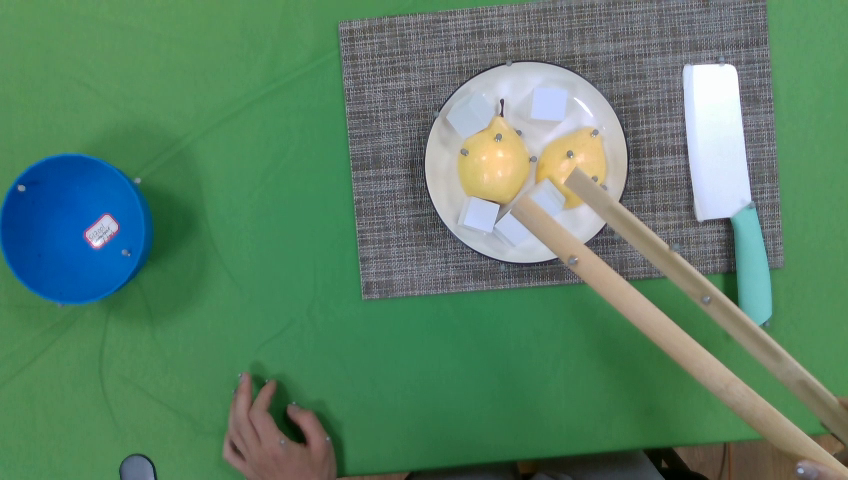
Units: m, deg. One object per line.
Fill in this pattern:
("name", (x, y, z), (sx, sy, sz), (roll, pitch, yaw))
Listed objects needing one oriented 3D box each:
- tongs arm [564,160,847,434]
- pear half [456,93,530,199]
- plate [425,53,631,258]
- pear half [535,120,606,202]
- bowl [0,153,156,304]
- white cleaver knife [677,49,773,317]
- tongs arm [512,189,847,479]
("tongs arm", (0.256, 0.068, 0.512), (0.382, 0.051, 0.026), (45, 133, 16))
("pear half", (0.072, -0.099, 0.616), (0.076, 0.056, 0.109), (4, 88, -2))
("plate", (0.105, -0.086, 0.629), (0.207, 0.039, 0.207), (0, 92, 3))
("pear half", (0.155, -0.082, 0.621), (0.070, 0.031, 0.088), (26, 99, -2))
("bowl", (-0.344, -0.012, 0.634), (0.151, 0.077, 0.151), (0, 92, 2))
("white cleaver knife", (0.313, -0.056, 0.635), (0.066, 0.021, 0.286), (-9, 88, 12))
("tongs arm", (0.222, 0.087, 0.475), (0.385, 0.028, 0.028), (41, 129, 12))
